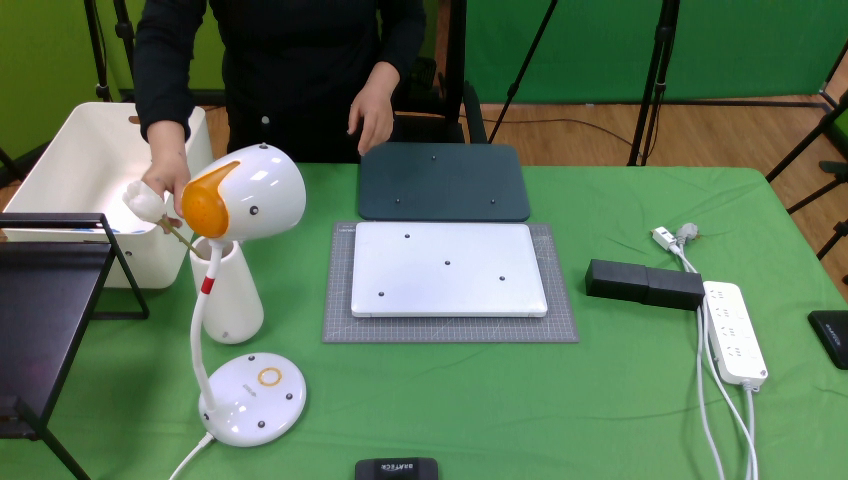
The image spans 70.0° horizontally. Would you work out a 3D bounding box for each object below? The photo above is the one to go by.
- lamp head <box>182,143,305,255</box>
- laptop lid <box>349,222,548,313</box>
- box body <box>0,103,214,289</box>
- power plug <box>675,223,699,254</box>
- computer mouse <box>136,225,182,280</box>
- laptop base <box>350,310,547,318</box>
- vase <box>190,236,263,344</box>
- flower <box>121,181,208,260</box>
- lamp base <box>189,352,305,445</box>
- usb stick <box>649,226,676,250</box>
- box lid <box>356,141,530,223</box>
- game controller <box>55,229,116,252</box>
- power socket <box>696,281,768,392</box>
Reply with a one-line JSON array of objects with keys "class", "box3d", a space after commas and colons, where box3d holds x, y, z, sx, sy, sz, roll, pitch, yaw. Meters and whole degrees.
[{"class": "lamp head", "box3d": [-0.216, -0.044, 0.697, 0.112, 0.113, 0.123, 23, 31, 17]}, {"class": "laptop lid", "box3d": [0.042, 0.046, 1.142, 0.357, 0.013, 0.240, 2, 44, -3]}, {"class": "box body", "box3d": [-0.563, -0.087, 1.139, 0.254, 0.161, 0.361, 2, 46, -3]}, {"class": "power plug", "box3d": [0.537, 0.000, 1.243, 0.053, 0.035, 0.072, 19, 82, -17]}, {"class": "computer mouse", "box3d": [-0.488, 0.020, 1.117, 0.063, 0.041, 0.116, 1, 55, -6]}, {"class": "laptop base", "box3d": [0.041, 0.056, 1.149, 0.355, 0.023, 0.234, 0, 42, -4]}, {"class": "vase", "box3d": [-0.317, 0.081, 0.971, 0.098, 0.201, 0.097, 3, 47, -3]}, {"class": "flower", "box3d": [-0.329, 0.030, 0.905, 0.038, 0.364, 0.044, -22, 58, -1]}, {"class": "lamp base", "box3d": [-0.268, 0.196, 0.876, 0.160, 0.181, 0.179, 25, 52, 20]}, {"class": "usb stick", "box3d": [0.485, -0.008, 1.237, 0.021, 0.027, 0.059, -22, 44, -13]}, {"class": "box lid", "box3d": [0.040, -0.132, 1.339, 0.372, 0.015, 0.261, 0, 46, -4]}, {"class": "game controller", "box3d": [-0.597, 0.011, 1.116, 0.155, 0.052, 0.096, 1, 48, -1]}, {"class": "power socket", "box3d": [0.543, 0.161, 1.077, 0.072, 0.033, 0.225, 5, 46, 2]}]
